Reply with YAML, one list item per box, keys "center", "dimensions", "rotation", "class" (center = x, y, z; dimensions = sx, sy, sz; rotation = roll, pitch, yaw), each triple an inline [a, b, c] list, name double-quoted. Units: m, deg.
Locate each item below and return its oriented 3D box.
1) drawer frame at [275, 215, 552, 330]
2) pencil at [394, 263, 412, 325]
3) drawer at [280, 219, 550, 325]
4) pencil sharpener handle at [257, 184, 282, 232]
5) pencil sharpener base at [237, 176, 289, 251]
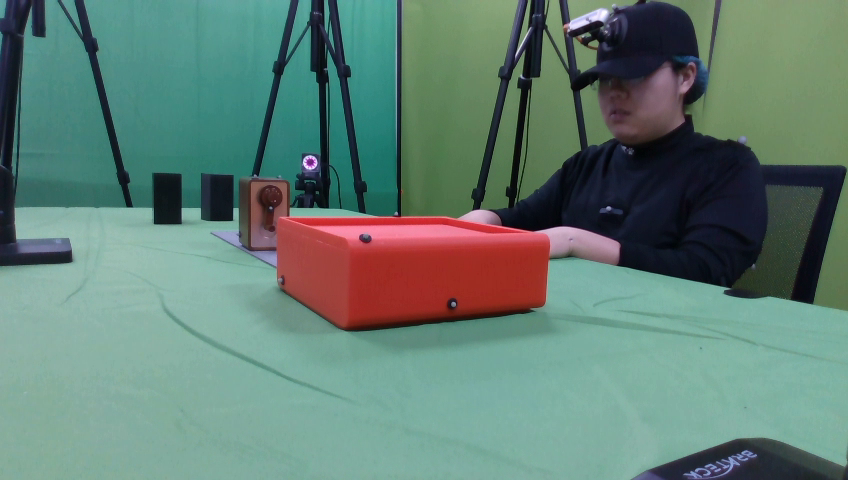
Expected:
- center: [-0.017, 0.022, 0.610]
  dimensions: [0.215, 0.082, 0.200]
  rotation: [-2, 9, -31]
  class: "drawer frame"
- center: [-0.021, 0.052, 0.614]
  dimensions: [0.012, 0.012, 0.194]
  rotation: [3, 12, 0]
  class: "pencil"
- center: [-0.016, 0.024, 0.612]
  dimensions: [0.213, 0.073, 0.193]
  rotation: [-3, 9, -30]
  class: "drawer"
- center: [-0.219, -0.046, 0.865]
  dimensions: [0.036, 0.067, 0.030]
  rotation: [6, 5, -29]
  class: "pencil sharpener handle"
- center: [-0.243, -0.040, 0.912]
  dimensions: [0.061, 0.107, 0.076]
  rotation: [-1, 8, -29]
  class: "pencil sharpener base"
